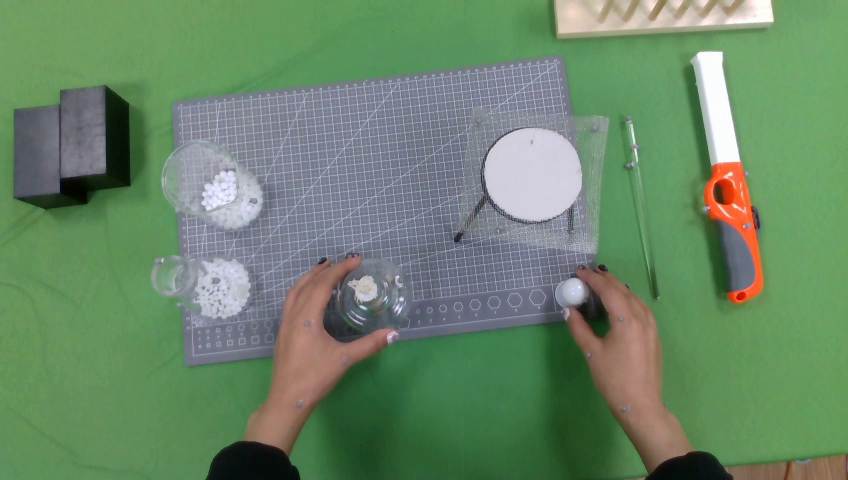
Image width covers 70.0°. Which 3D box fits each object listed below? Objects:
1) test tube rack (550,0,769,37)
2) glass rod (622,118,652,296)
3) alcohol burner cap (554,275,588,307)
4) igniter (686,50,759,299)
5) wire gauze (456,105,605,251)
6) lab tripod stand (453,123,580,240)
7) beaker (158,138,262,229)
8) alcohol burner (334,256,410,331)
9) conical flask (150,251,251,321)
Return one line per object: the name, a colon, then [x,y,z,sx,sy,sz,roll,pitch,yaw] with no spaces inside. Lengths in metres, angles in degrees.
test tube rack: [0.266,-0.280,0.661,0.242,0.085,0.066,-3,80,1]
glass rod: [0.233,-0.038,0.662,0.008,0.008,0.199,-6,83,0]
alcohol burner cap: [0.155,0.051,0.630,0.034,0.048,0.033,0,80,2]
igniter: [0.322,-0.074,0.656,0.057,0.025,0.275,-4,80,-9]
wire gauze: [0.095,-0.058,0.535,0.125,0.011,0.121,7,82,3]
lab tripod stand: [0.093,-0.047,0.601,0.148,0.132,0.148,0,82,2]
beaker: [-0.213,-0.052,0.628,0.084,0.100,0.074,29,83,6]
alcohol burner: [-0.054,0.051,0.600,0.078,0.119,0.077,-1,80,4]
conical flask: [-0.225,0.040,0.601,0.075,0.122,0.075,0,80,2]
